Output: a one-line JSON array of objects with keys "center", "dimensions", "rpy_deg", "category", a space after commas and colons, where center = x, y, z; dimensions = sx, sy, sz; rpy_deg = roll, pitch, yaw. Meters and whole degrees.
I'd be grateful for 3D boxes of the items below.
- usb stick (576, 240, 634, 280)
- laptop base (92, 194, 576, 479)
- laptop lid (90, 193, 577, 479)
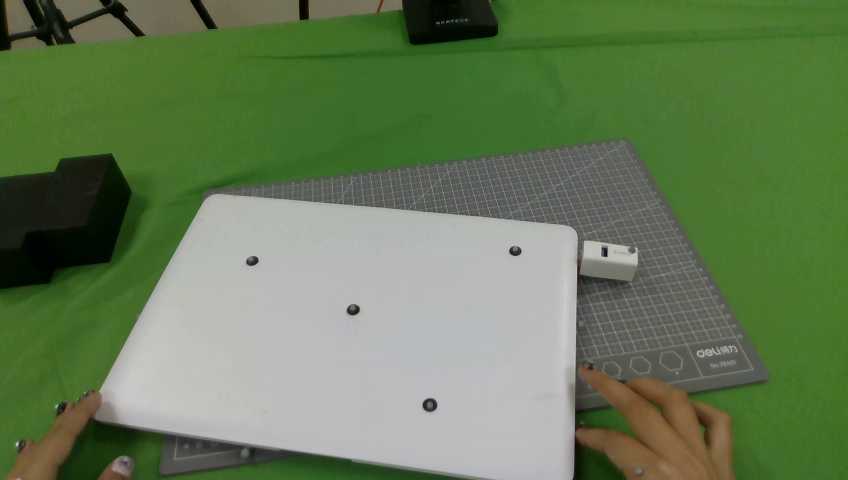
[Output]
[{"center": [0.146, 0.016, 0.515], "dimensions": [0.059, 0.027, 0.021], "rpy_deg": [6, 50, 11], "category": "usb stick"}, {"center": [-0.057, 0.065, 0.499], "dimensions": [0.354, 0.023, 0.233], "rpy_deg": [5, 52, 8], "category": "laptop base"}, {"center": [-0.058, 0.059, 0.489], "dimensions": [0.356, 0.013, 0.239], "rpy_deg": [7, 52, 9], "category": "laptop lid"}]
